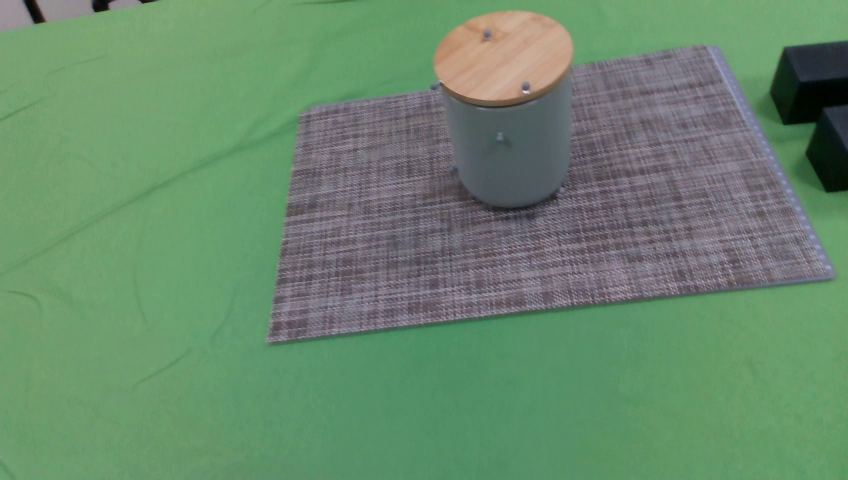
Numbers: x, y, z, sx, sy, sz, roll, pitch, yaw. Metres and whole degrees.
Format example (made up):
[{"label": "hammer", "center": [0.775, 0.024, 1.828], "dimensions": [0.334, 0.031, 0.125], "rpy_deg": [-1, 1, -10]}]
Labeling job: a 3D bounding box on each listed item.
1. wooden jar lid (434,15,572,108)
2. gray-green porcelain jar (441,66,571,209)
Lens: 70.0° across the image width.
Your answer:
[{"label": "wooden jar lid", "center": [0.062, -0.138, 0.480], "dimensions": [0.108, 0.021, 0.107], "rpy_deg": [-5, 54, 8]}, {"label": "gray-green porcelain jar", "center": [0.074, -0.099, 0.529], "dimensions": [0.106, 0.128, 0.105], "rpy_deg": [-6, 51, 8]}]
